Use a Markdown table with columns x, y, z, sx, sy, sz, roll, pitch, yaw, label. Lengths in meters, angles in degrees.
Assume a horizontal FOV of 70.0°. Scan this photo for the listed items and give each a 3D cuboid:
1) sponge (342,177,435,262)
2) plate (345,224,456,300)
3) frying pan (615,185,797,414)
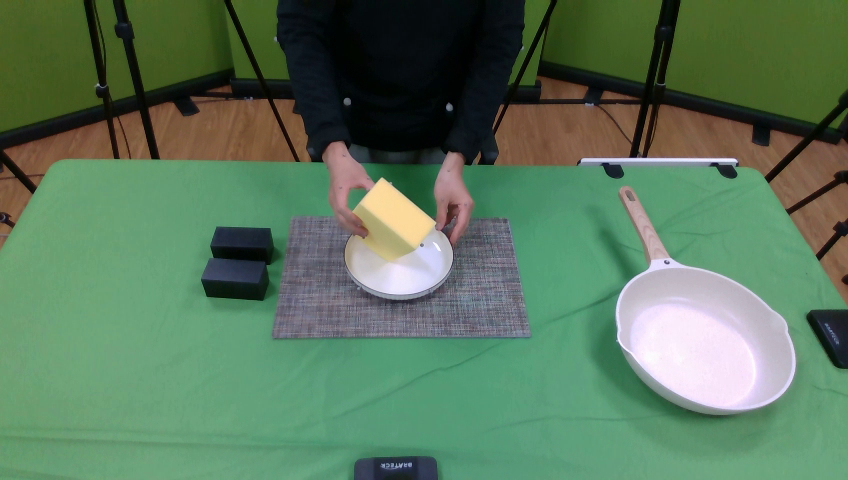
| x | y | z | sx | sy | sz | roll | pitch | yaw | label |
| --- | --- | --- | --- | --- | --- | --- | --- | --- | --- |
| -0.069 | -0.029 | 1.068 | 0.118 | 0.207 | 0.061 | 40 | 74 | -8 | sponge |
| -0.045 | 0.035 | 1.146 | 0.208 | 0.039 | 0.206 | 2 | 46 | -2 | plate |
| 0.450 | 0.087 | 1.092 | 0.307 | 0.103 | 0.484 | -4 | 55 | -10 | frying pan |
